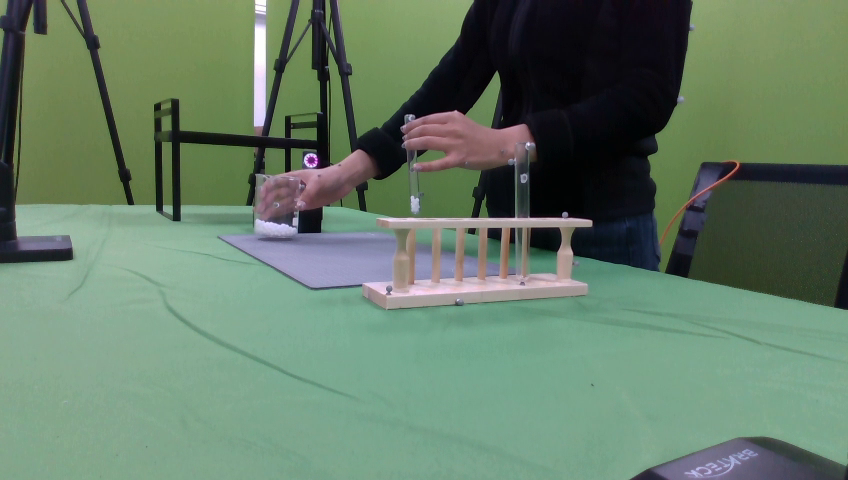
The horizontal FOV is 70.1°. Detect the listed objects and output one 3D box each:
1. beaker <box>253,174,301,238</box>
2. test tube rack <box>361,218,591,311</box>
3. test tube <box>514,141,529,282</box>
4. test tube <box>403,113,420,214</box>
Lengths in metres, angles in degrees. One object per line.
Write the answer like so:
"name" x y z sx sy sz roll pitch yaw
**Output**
"beaker" -0.243 -0.055 0.989 0.074 0.100 0.084 4 5 1
"test tube rack" 0.059 0.018 0.640 0.243 0.085 0.066 -1 8 -27
"test tube" 0.103 -0.028 0.636 0.017 0.150 0.017 -2 12 1
"test tube" -0.018 -0.113 0.896 0.017 0.150 0.017 -4 -1 0
